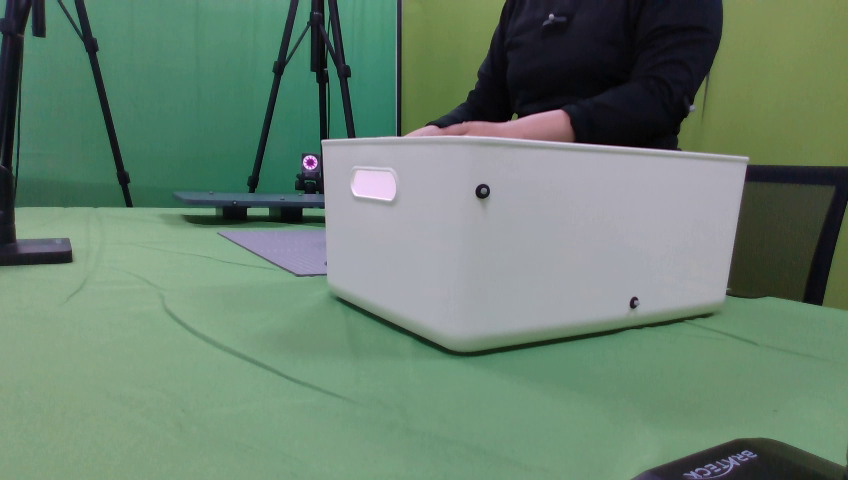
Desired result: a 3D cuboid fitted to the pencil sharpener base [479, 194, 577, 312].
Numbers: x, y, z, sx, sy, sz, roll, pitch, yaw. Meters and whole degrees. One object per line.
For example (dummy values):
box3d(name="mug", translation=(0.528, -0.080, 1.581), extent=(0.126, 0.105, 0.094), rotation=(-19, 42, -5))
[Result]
box3d(name="pencil sharpener base", translation=(0.103, 0.011, 0.591), extent=(0.077, 0.107, 0.061), rotation=(-1, 7, -33))

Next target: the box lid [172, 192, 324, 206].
box3d(name="box lid", translation=(-0.355, -0.091, 1.350), extent=(0.373, 0.015, 0.262), rotation=(-1, 8, -29))

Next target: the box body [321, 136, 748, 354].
box3d(name="box body", translation=(0.105, -0.012, 0.604), extent=(0.366, 0.160, 0.253), rotation=(-2, 8, -33))

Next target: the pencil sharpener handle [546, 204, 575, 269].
box3d(name="pencil sharpener handle", translation=(0.145, -0.003, 0.619), extent=(0.031, 0.067, 0.036), rotation=(-1, 17, -33))
